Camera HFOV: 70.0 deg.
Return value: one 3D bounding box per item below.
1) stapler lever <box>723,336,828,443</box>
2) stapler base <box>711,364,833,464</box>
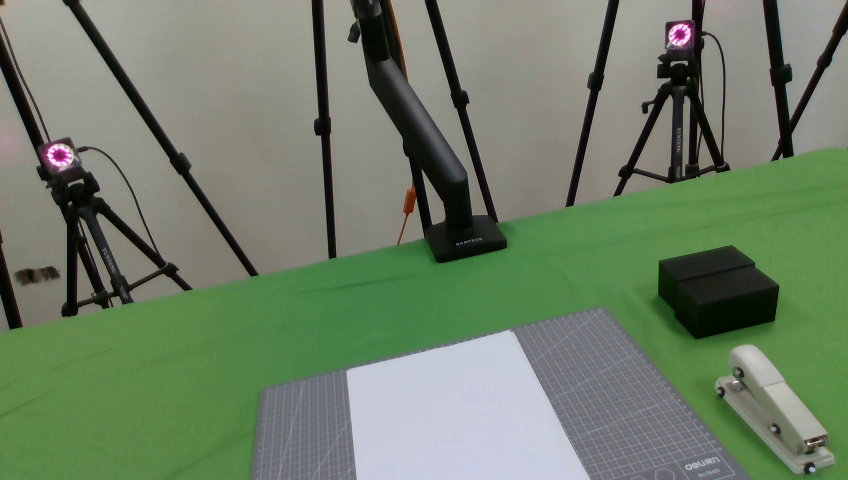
[{"bbox_3d":[0.328,0.136,0.571,0.027,0.040,0.117,-14,30,-5],"label":"stapler lever"},{"bbox_3d":[0.330,0.157,0.585,0.041,0.024,0.129,-14,29,-5],"label":"stapler base"}]
